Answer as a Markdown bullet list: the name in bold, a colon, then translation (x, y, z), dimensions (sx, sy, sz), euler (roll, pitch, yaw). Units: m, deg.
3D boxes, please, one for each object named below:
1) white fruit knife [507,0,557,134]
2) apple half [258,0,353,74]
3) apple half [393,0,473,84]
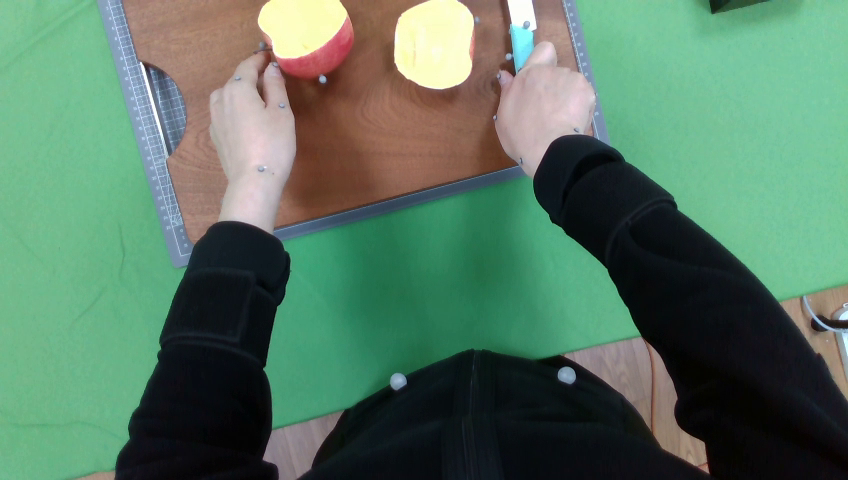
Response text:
- **white fruit knife**: translation (0.091, -0.199, 0.563), dimensions (0.027, 0.016, 0.207), euler (-11, 92, 4)
- **apple half**: translation (-0.101, -0.184, 0.542), dimensions (0.074, 0.054, 0.080), euler (-34, 65, -5)
- **apple half**: translation (0.010, -0.184, 0.558), dimensions (0.081, 0.032, 0.081), euler (2, 104, 10)
